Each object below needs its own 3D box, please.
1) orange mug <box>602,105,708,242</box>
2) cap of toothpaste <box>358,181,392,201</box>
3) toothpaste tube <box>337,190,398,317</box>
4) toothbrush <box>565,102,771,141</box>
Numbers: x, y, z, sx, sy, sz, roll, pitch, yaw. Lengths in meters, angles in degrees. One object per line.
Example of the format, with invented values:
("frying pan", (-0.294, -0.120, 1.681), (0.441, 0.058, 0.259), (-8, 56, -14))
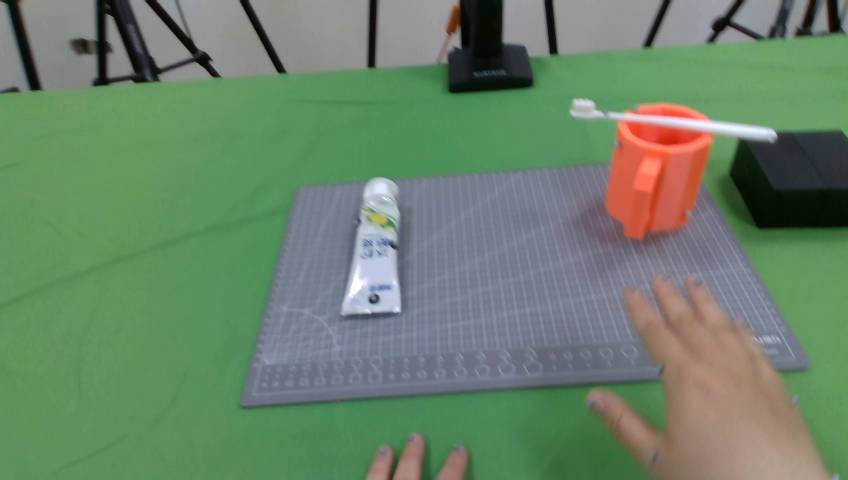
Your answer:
("orange mug", (0.217, -0.060, 0.586), (0.083, 0.102, 0.126), (15, 41, 23))
("cap of toothpaste", (-0.052, -0.048, 0.647), (0.037, 0.038, 0.011), (-1, 48, 4))
("toothpaste tube", (-0.053, 0.008, 0.594), (0.055, 0.035, 0.163), (-7, 45, 5))
("toothbrush", (0.222, -0.110, 0.563), (0.181, 0.017, 0.014), (12, 39, 19))
